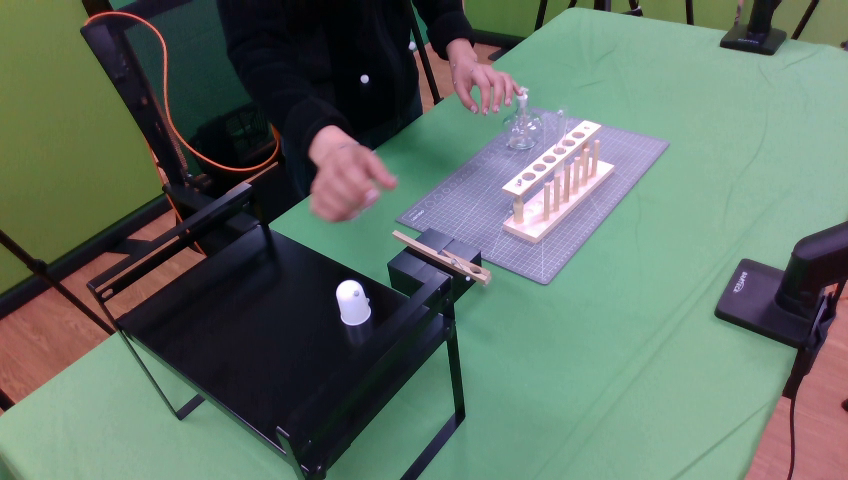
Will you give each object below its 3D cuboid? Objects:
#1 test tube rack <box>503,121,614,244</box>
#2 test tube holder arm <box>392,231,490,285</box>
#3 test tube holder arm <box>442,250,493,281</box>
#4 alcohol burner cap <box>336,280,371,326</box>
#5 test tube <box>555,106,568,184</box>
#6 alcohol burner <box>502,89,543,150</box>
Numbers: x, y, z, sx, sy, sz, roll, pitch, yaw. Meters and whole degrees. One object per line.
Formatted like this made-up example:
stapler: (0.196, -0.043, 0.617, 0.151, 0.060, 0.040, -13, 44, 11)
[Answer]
test tube rack: (0.230, -0.101, 1.006, 0.066, 0.085, 0.243, 26, 50, 35)
test tube holder arm: (0.021, 0.024, 0.873, 0.177, 0.015, 0.013, 24, 60, 32)
test tube holder arm: (0.059, 0.035, 0.851, 0.087, 0.015, 0.010, 24, 60, 32)
alcohol burner cap: (-0.073, 0.061, 0.619, 0.034, 0.048, 0.033, -4, 41, 4)
test tube: (0.224, -0.151, 0.987, 0.017, 0.151, 0.017, -4, 43, 4)
alcohol burner: (0.186, -0.233, 1.147, 0.078, 0.119, 0.077, -5, 42, 5)
